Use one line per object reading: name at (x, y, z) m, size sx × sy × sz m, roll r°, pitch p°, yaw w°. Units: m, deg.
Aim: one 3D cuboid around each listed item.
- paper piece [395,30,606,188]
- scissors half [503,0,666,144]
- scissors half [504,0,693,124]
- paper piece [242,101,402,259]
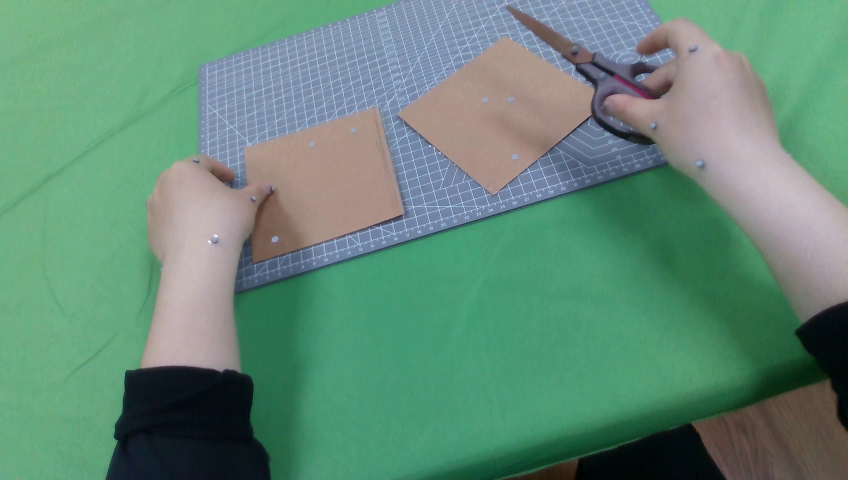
paper piece at (0.064, -0.122, 0.535) m, size 0.135 × 0.004 × 0.134 m, roll -38°, pitch 58°, yaw -10°
scissors half at (0.113, -0.132, 0.454) m, size 0.040 × 0.013 × 0.173 m, roll -26°, pitch 63°, yaw -20°
scissors half at (0.128, -0.143, 0.461) m, size 0.174 × 0.013 × 0.040 m, roll 38°, pitch 67°, yaw 18°
paper piece at (-0.095, -0.058, 0.536) m, size 0.138 × 0.009 × 0.134 m, roll -18°, pitch 52°, yaw 5°
